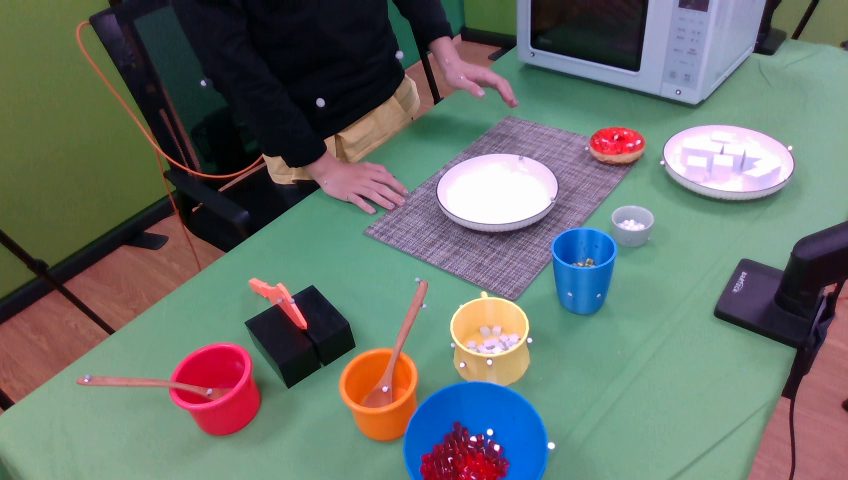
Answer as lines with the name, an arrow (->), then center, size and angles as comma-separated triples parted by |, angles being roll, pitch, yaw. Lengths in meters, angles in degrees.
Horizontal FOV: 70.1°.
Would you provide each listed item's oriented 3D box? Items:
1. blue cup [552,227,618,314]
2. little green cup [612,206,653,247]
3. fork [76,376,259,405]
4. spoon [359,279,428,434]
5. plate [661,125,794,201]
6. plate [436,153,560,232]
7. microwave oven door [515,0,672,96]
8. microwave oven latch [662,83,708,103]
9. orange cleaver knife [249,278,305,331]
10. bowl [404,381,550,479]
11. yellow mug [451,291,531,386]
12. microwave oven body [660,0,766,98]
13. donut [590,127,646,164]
blue cup -> 0.217, 0.047, 0.825 | 0.092, 0.100, 0.092 | -6, 40, 5
little green cup -> 0.321, -0.019, 0.936 | 0.061, 0.039, 0.061 | -4, 41, 4
fork -> -0.295, 0.176, 0.716 | 0.209, 0.018, 0.028 | 19, 27, -36
spoon -> -0.032, 0.138, 0.719 | 0.041, 0.193, 0.022 | 22, 4, 30
plate -> 0.513, -0.128, 1.035 | 0.207, 0.039, 0.206 | -4, 40, 4
plate -> 0.125, -0.078, 1.029 | 0.209, 0.038, 0.208 | -4, 40, 4
microwave oven door -> 0.343, -0.455, 1.259 | 0.353, 0.245, 0.039 | 26, 51, 33
microwave oven latch -> 0.517, -0.296, 1.204 | 0.078, 0.029, 0.030 | 28, 52, 35
orange cleaver knife -> -0.210, 0.088, 0.856 | 0.012, 0.077, 0.210 | -28, 15, -25
bowl -> 0.058, 0.235, 0.645 | 0.151, 0.077, 0.150 | -4, 39, 4
yellow mug -> 0.085, 0.120, 0.786 | 0.100, 0.064, 0.130 | -7, 39, 1
microwave oven body -> 0.472, -0.513, 1.317 | 0.438, 0.261, 0.327 | 26, 51, 34
donut -> 0.353, -0.174, 1.103 | 0.099, 0.048, 0.098 | -4, 38, 4
